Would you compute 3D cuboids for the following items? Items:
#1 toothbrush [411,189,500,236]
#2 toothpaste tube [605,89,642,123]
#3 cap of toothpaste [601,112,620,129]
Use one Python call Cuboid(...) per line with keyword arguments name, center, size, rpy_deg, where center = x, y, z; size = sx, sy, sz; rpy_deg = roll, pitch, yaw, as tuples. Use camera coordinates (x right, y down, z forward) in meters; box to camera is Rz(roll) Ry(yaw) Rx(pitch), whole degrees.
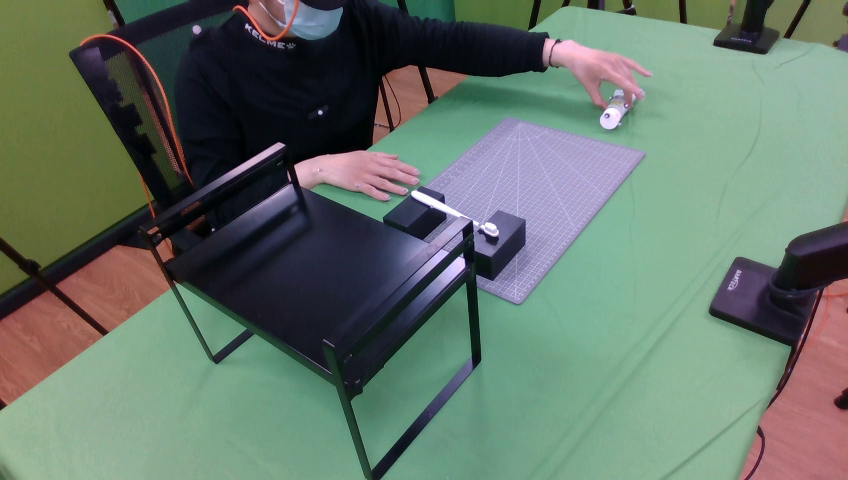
Cuboid(name="toothbrush", center=(0.044, -0.046, 0.940), size=(0.180, 0.017, 0.014), rpy_deg=(28, 67, 36))
Cuboid(name="toothpaste tube", center=(0.400, -0.276, 1.228), size=(0.055, 0.034, 0.165), rpy_deg=(14, 40, 23))
Cuboid(name="cap of toothpaste", center=(0.362, -0.233, 1.173), size=(0.037, 0.037, 0.011), rpy_deg=(13, 41, 22))
